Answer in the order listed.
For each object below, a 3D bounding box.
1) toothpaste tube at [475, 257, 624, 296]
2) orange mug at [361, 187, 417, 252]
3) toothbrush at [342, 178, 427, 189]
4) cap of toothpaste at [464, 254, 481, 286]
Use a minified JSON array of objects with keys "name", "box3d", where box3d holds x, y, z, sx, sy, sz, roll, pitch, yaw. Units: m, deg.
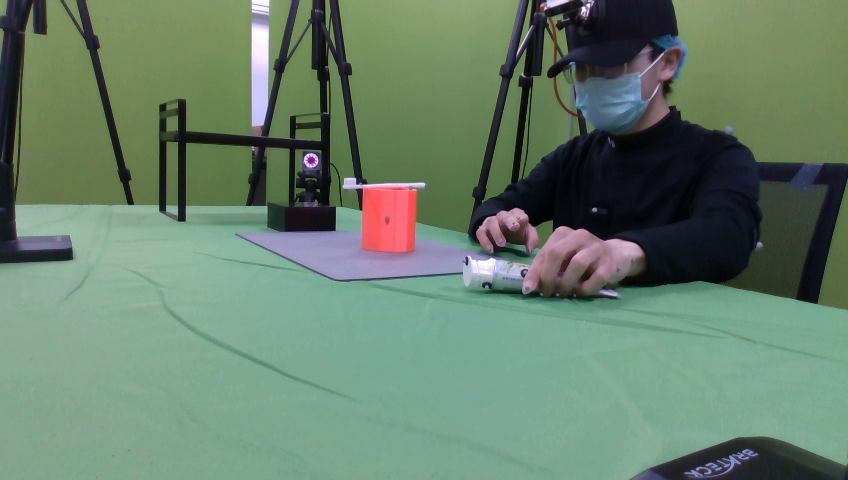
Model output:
[{"name":"toothpaste tube","box3d":[0.133,0.044,0.667,0.165,0.034,0.055,7,14,-7]},{"name":"orange mug","box3d":[-0.054,-0.039,0.962,0.083,0.101,0.126,2,12,0]},{"name":"toothbrush","box3d":[-0.058,-0.089,0.948,0.014,0.016,0.183,5,7,41]},{"name":"cap of toothpaste","box3d":[0.053,0.033,0.659,0.011,0.037,0.037,1,8,-16]}]
